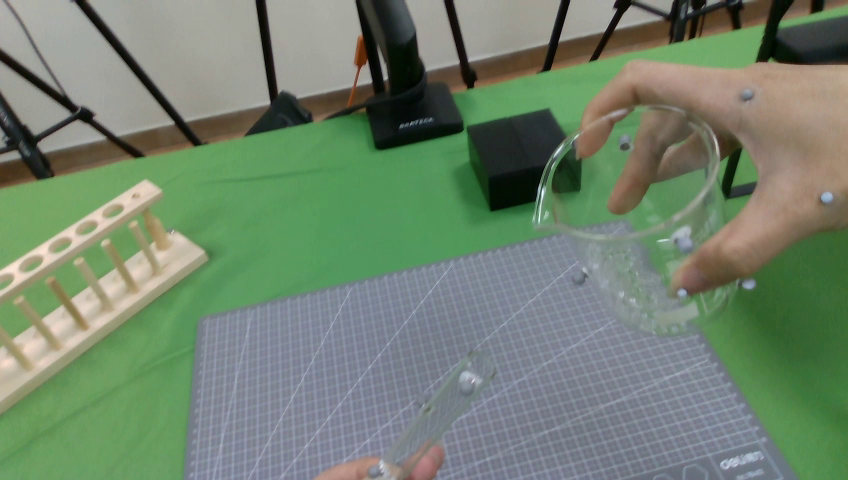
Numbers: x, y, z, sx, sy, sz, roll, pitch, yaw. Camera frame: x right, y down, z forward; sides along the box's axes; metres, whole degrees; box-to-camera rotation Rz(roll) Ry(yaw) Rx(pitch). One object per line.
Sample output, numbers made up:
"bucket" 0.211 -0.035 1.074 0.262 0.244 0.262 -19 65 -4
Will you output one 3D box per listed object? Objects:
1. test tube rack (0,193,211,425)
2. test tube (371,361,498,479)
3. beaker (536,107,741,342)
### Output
"test tube rack" -0.344 0.061 0.601 0.066 0.086 0.242 27 54 32
"test tube" -0.010 0.111 0.299 0.017 0.151 0.017 25 31 -16
"beaker" 0.108 0.000 0.294 0.084 0.101 0.073 -29 44 12
